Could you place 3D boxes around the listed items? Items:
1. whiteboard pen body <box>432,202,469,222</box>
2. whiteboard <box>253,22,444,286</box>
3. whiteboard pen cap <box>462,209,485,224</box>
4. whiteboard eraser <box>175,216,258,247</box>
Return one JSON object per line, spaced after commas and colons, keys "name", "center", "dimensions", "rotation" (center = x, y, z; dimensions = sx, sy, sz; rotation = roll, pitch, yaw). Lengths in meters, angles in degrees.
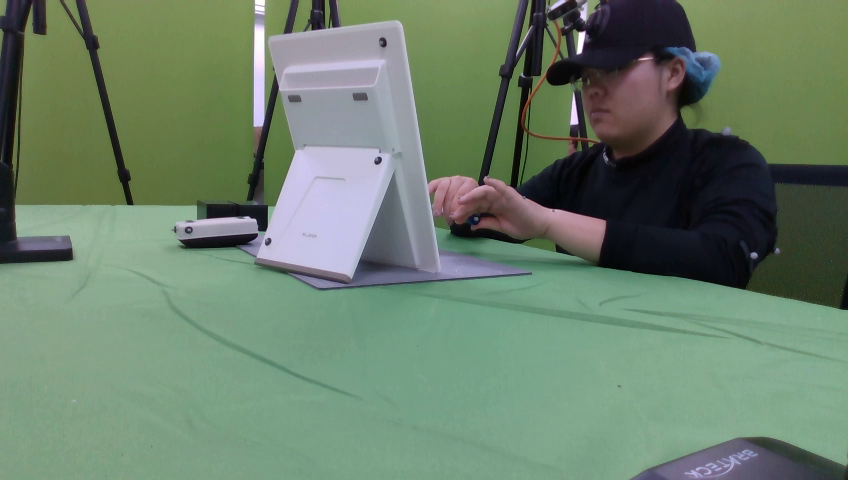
{"name": "whiteboard pen body", "center": [0.048, -0.044, 0.981], "dimensions": [0.017, 0.017, 0.140], "rotation": [-1, 13, -26]}
{"name": "whiteboard", "center": [-0.125, -0.081, 0.715], "dimensions": [0.216, 0.305, 0.144], "rotation": [9, 29, 36]}
{"name": "whiteboard pen cap", "center": [0.075, -0.035, 0.926], "dimensions": [0.033, 0.018, 0.018], "rotation": [18, 13, 20]}
{"name": "whiteboard eraser", "center": [-0.314, -0.012, 0.915], "dimensions": [0.113, 0.042, 0.055], "rotation": [-6, 12, -30]}
